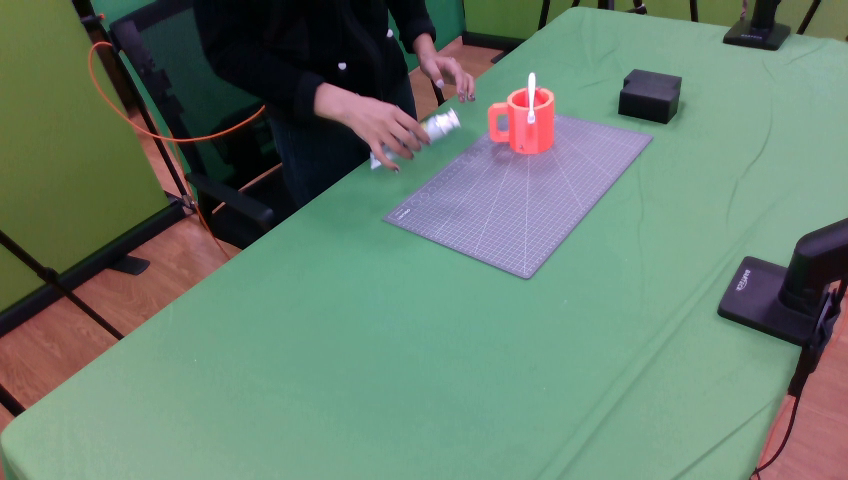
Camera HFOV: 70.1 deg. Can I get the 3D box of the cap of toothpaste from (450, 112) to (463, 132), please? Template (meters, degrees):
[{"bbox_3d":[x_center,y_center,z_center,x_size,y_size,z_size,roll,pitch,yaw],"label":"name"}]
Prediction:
[{"bbox_3d":[0.055,-0.201,1.035,0.011,0.037,0.037,-26,42,-1],"label":"cap of toothpaste"}]

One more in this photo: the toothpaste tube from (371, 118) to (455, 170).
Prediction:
[{"bbox_3d":[-0.019,-0.171,1.053,0.165,0.035,0.055,-23,35,12],"label":"toothpaste tube"}]

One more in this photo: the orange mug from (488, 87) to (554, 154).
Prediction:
[{"bbox_3d":[0.185,-0.227,1.151,0.126,0.101,0.083,1,41,5],"label":"orange mug"}]

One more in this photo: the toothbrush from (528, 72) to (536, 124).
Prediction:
[{"bbox_3d":[0.198,-0.267,1.114,0.014,0.017,0.181,-4,40,14],"label":"toothbrush"}]
